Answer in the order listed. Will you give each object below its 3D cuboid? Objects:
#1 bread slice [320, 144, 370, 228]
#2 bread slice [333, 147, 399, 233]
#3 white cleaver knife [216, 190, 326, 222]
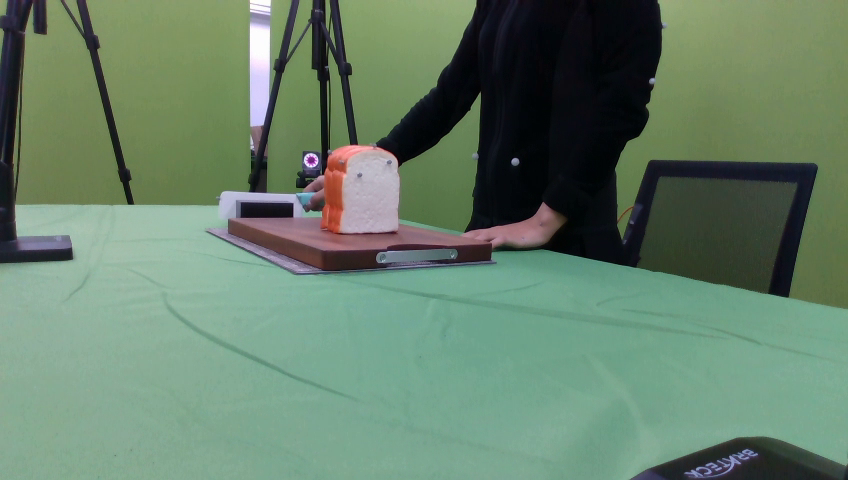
[{"bbox_3d":[-0.106,-0.083,0.952,0.107,0.134,0.018,2,6,-32],"label":"bread slice"},{"bbox_3d":[-0.084,-0.074,0.908,0.105,0.131,0.019,-4,14,-31],"label":"bread slice"},{"bbox_3d":[-0.274,-0.069,1.236,0.288,0.066,0.021,-1,11,-25],"label":"white cleaver knife"}]
